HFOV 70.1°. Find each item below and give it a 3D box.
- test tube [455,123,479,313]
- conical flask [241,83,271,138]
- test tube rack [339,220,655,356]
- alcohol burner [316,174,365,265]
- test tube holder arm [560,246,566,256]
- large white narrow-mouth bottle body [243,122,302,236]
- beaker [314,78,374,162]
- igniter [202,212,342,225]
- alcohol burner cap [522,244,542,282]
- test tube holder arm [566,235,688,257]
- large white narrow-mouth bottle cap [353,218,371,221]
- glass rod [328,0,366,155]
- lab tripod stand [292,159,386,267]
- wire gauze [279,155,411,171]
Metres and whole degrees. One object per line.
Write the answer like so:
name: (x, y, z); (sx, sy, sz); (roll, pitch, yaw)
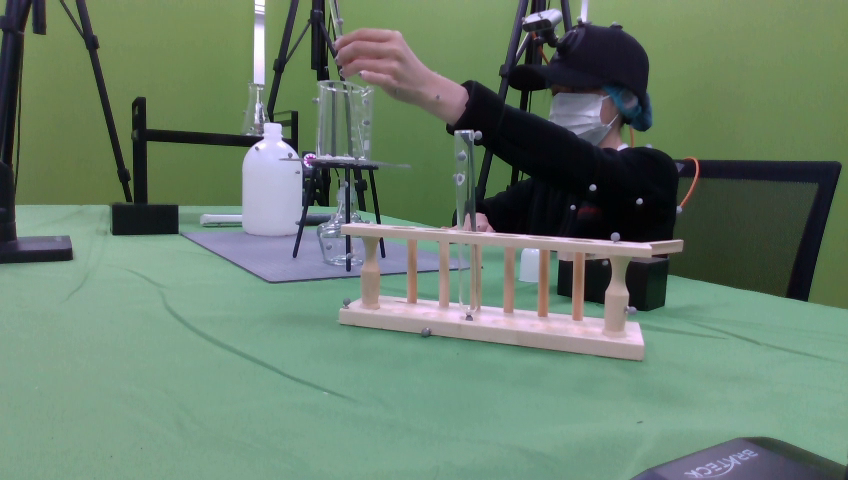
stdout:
test tube: (0.034, -0.016, 0.476); (0.017, 0.150, 0.017); (-2, 9, 1)
conical flask: (-0.384, -0.297, 1.393); (0.075, 0.122, 0.075); (2, 7, 0)
test tube rack: (0.056, 0.032, 0.495); (0.242, 0.085, 0.067); (4, 7, 15)
alcohol burner: (-0.102, -0.028, 0.790); (0.078, 0.119, 0.078); (0, 6, 0)
test tube holder arm: (0.173, 0.007, 0.611); (0.088, 0.015, 0.010); (-3, 10, -29)
large white narrow-mouth bottle body: (-0.264, -0.109, 1.061); (0.102, 0.194, 0.102); (2, 8, 0)
beaker: (-0.101, -0.150, 0.773); (0.074, 0.100, 0.083); (-2, 8, -40)
igniter: (-0.298, -0.043, 1.216); (0.278, 0.025, 0.057); (-3, -2, -32)
alcohol burner cap: (0.136, 0.026, 0.741); (0.034, 0.048, 0.034); (0, 6, 0)
test tube holder arm: (0.215, 0.006, 0.629); (0.179, 0.015, 0.013); (-3, 10, -30)
large white narrow-mouth bottle cap: (-0.121, -0.029, 1.184); (0.038, 0.024, 0.037); (2, 8, 0)
glass rod: (-0.096, -0.205, 0.766); (0.008, 0.200, 0.008); (-9, 20, 4)
lab tripod stand: (-0.105, -0.039, 0.797); (0.148, 0.131, 0.148); (2, 5, 0)
wire gauze: (-0.103, -0.103, 0.785); (0.121, 0.011, 0.126); (11, 8, 42)
